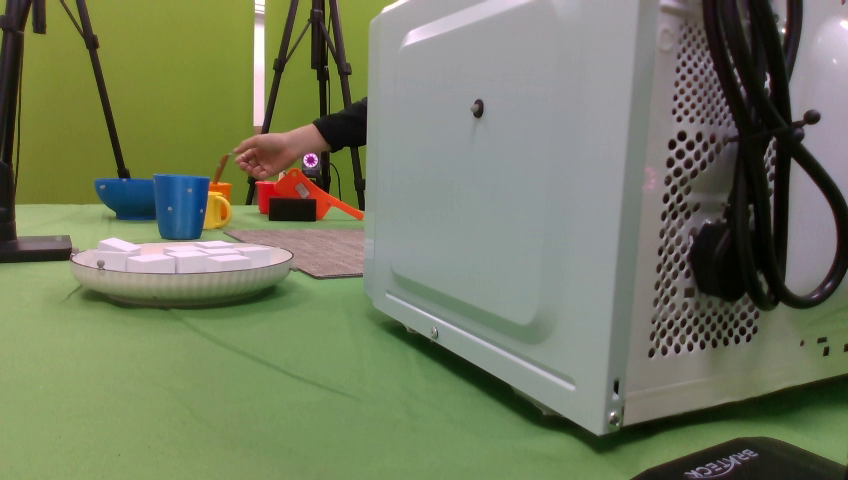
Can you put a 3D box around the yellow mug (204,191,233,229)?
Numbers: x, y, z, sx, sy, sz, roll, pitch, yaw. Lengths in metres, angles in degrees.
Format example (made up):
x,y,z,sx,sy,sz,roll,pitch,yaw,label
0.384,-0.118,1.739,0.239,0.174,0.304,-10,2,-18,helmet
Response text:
x,y,z,sx,sy,sz,roll,pitch,yaw,label
-0.415,-0.057,1.132,0.130,0.064,0.100,6,8,16,yellow mug

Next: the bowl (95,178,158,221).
x,y,z,sx,sy,sz,roll,pitch,yaw,label
-0.576,-0.081,1.217,0.151,0.077,0.151,3,8,0,bowl

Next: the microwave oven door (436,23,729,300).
x,y,z,sx,sy,sz,roll,pitch,yaw,label
0.181,-0.072,0.621,0.358,0.243,0.039,-2,9,-28,microwave oven door

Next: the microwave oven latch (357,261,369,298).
x,y,z,sx,sy,sz,roll,pitch,yaw,label
-0.019,0.033,0.530,0.079,0.029,0.030,0,7,-25,microwave oven latch

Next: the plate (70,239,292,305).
x,y,z,sx,sy,sz,roll,pitch,yaw,label
-0.242,0.031,0.618,0.208,0.039,0.207,2,8,0,plate

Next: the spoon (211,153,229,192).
x,y,z,sx,sy,sz,roll,pitch,yaw,label
-0.431,-0.115,1.253,0.042,0.193,0.021,-4,54,-33,spoon

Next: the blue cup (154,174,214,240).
x,y,z,sx,sy,sz,roll,pitch,yaw,label
-0.390,-0.053,0.978,0.093,0.100,0.092,3,6,0,blue cup

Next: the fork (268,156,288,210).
x,y,z,sx,sy,sz,roll,pitch,yaw,label
-0.361,-0.144,1.507,0.028,0.018,0.207,1,49,1,fork

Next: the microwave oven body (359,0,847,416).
x,y,z,sx,sy,sz,roll,pitch,yaw,label
0.211,-0.047,0.474,0.444,0.260,0.324,-1,7,-28,microwave oven body

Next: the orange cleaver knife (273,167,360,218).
x,y,z,sx,sy,sz,roll,pitch,yaw,label
-0.238,-0.091,1.381,0.212,0.077,0.012,31,0,-19,orange cleaver knife

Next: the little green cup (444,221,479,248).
x,y,z,sx,sy,sz,roll,pitch,yaw,label
0.064,-0.009,1.035,0.061,0.038,0.061,3,11,0,little green cup
